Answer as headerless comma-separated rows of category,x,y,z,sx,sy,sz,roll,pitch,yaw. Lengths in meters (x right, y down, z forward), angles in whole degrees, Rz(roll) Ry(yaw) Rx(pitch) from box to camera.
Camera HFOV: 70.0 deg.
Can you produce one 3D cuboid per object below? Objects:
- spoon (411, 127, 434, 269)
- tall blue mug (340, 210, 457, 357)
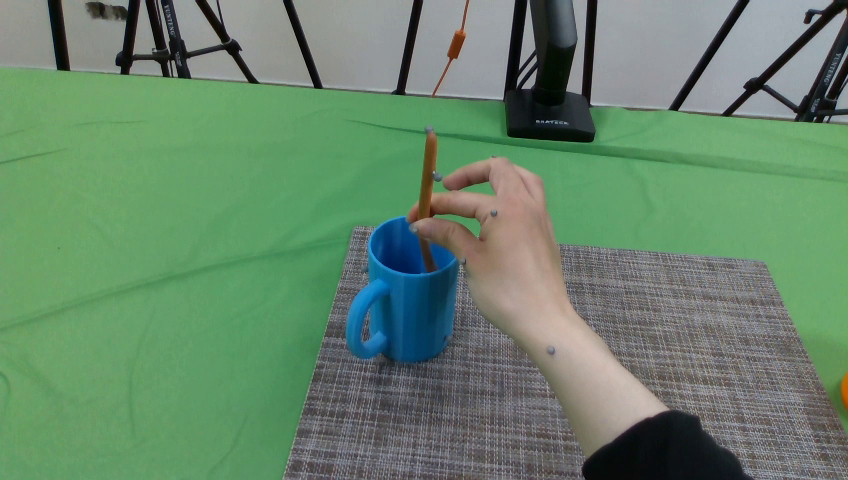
spoon,-0.001,-0.005,0.465,0.021,0.195,0.041,-1,48,2
tall blue mug,-0.018,0.049,0.516,0.077,0.109,0.106,11,42,7
